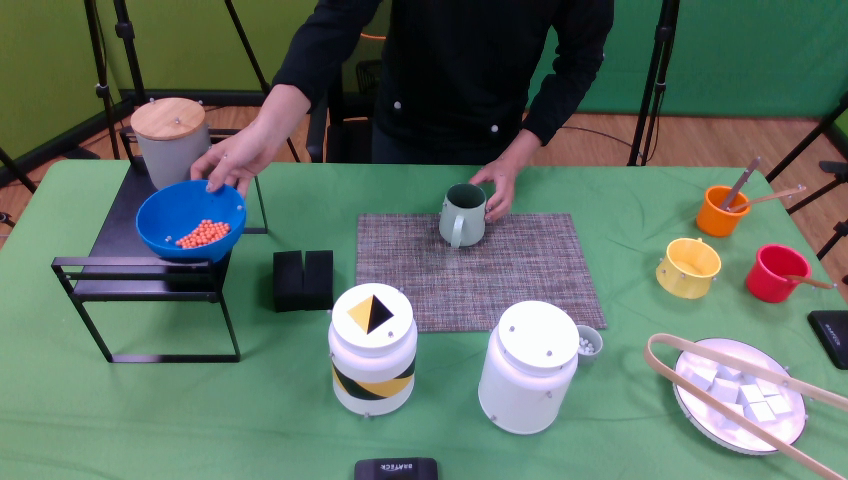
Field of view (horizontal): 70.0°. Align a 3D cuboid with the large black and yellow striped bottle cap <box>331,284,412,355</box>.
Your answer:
[{"bbox_3d":[-0.073,0.110,0.858,0.115,0.019,0.114,2,46,-2],"label":"large black and yellow striped bottle cap"}]

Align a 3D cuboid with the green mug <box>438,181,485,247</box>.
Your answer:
[{"bbox_3d":[0.071,-0.039,1.177,0.092,0.105,0.124,12,47,7],"label":"green mug"}]

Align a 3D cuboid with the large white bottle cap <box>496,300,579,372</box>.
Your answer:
[{"bbox_3d":[0.160,0.133,0.852,0.115,0.018,0.114,3,46,-3],"label":"large white bottle cap"}]

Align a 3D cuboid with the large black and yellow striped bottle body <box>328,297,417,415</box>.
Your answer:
[{"bbox_3d":[-0.078,0.167,0.920,0.131,0.185,0.130,2,46,-2],"label":"large black and yellow striped bottle body"}]

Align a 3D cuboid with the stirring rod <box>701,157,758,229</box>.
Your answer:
[{"bbox_3d":[0.634,-0.096,1.257,0.014,0.006,0.176,38,97,30],"label":"stirring rod"}]

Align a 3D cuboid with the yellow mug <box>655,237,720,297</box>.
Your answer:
[{"bbox_3d":[0.509,0.041,1.167,0.099,0.064,0.130,24,48,18],"label":"yellow mug"}]

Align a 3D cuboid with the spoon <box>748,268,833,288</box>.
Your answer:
[{"bbox_3d":[0.660,0.068,1.098,0.041,0.193,0.021,-4,91,-6],"label":"spoon"}]

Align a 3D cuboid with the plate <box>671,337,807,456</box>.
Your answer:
[{"bbox_3d":[0.503,0.254,0.984,0.208,0.039,0.206,2,46,-2],"label":"plate"}]

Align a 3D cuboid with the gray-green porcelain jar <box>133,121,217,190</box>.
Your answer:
[{"bbox_3d":[-0.397,-0.141,0.980,0.106,0.127,0.105,2,47,-2],"label":"gray-green porcelain jar"}]

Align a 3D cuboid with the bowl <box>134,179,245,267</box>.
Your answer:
[{"bbox_3d":[-0.337,-0.013,0.895,0.151,0.077,0.150,2,46,-2],"label":"bowl"}]

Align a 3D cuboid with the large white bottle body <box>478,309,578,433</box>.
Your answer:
[{"bbox_3d":[0.156,0.192,0.913,0.131,0.185,0.130,2,46,-2],"label":"large white bottle body"}]

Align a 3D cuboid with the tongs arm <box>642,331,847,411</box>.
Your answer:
[{"bbox_3d":[0.546,0.227,0.968,0.384,0.026,0.050,22,52,13],"label":"tongs arm"}]

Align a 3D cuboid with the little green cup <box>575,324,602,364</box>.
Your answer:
[{"bbox_3d":[0.269,0.179,1.035,0.061,0.039,0.061,2,45,-2],"label":"little green cup"}]

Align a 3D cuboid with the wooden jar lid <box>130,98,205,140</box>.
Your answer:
[{"bbox_3d":[-0.393,-0.183,0.934,0.108,0.021,0.107,2,44,-2],"label":"wooden jar lid"}]

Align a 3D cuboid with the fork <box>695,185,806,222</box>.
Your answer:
[{"bbox_3d":[0.658,-0.074,1.230,0.207,0.019,0.028,-23,36,37],"label":"fork"}]

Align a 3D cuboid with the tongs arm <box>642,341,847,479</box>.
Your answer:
[{"bbox_3d":[0.504,0.278,0.918,0.386,0.028,0.028,34,59,22],"label":"tongs arm"}]
